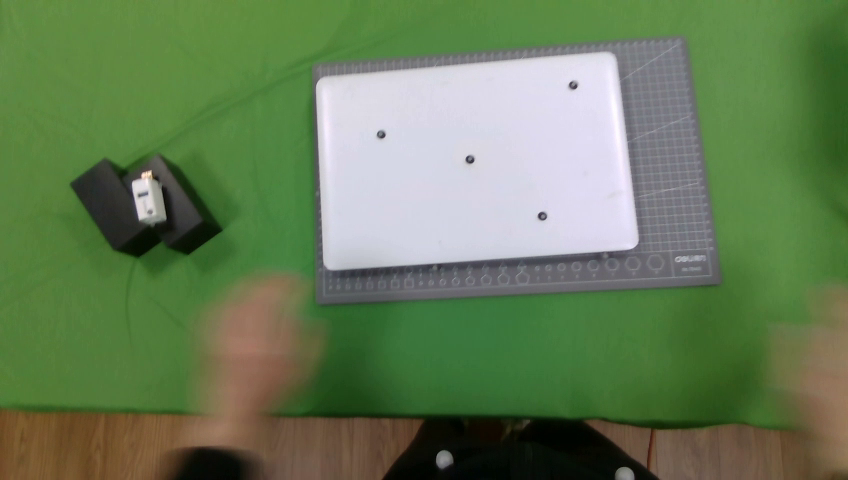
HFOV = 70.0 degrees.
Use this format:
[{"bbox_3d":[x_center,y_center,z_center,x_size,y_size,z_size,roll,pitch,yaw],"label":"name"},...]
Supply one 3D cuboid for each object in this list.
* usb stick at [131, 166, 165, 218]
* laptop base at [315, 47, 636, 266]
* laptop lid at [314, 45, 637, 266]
[{"bbox_3d":[-0.301,-0.055,0.660,0.021,0.027,0.059,-15,77,2],"label":"usb stick"},{"bbox_3d":[0.053,-0.097,0.700,0.354,0.023,0.234,-4,83,3],"label":"laptop base"},{"bbox_3d":[0.052,-0.097,0.688,0.356,0.013,0.241,-3,82,3],"label":"laptop lid"}]
